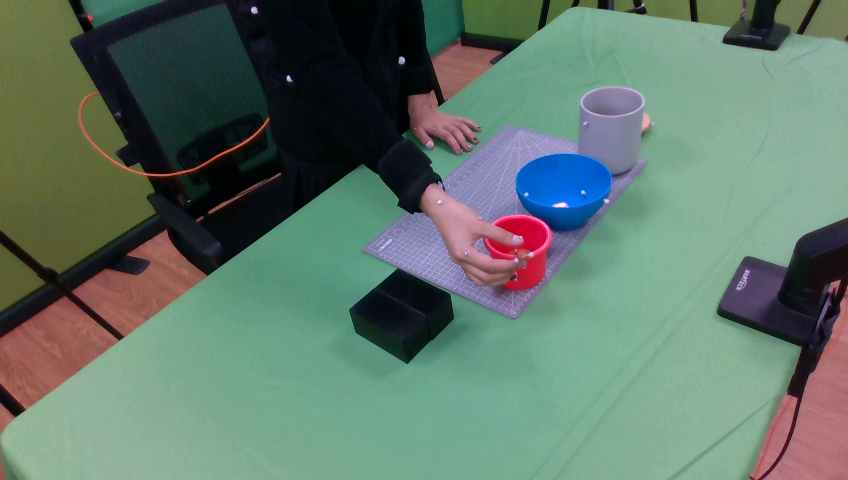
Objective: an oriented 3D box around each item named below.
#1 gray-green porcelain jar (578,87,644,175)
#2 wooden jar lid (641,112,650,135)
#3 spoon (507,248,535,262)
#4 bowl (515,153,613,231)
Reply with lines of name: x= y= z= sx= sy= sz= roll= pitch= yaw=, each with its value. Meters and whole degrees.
gray-green porcelain jar: x=0.324 y=-0.185 z=1.055 sx=0.106 sy=0.127 sz=0.105 roll=-5 pitch=41 yaw=5
wooden jar lid: x=0.383 y=-0.225 z=1.178 sx=0.108 sy=0.021 sz=0.108 roll=-5 pitch=40 yaw=4
spoon: x=0.135 y=0.019 z=0.835 sx=0.041 sy=0.021 sz=0.194 roll=-2 pitch=-3 yaw=8
bowl: x=0.225 y=-0.068 z=0.972 sx=0.151 sy=0.077 sz=0.150 roll=-5 pitch=40 yaw=5
